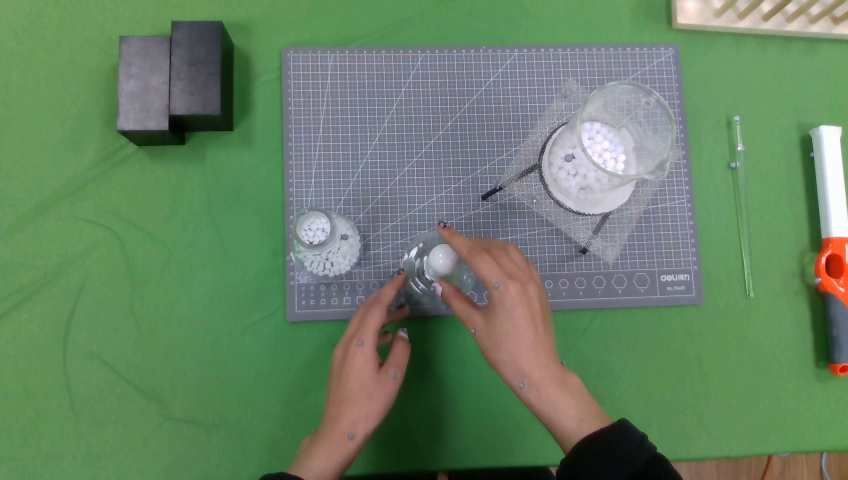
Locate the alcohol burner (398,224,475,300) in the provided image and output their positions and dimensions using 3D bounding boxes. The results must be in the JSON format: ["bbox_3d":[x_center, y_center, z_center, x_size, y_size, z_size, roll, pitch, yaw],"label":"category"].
[{"bbox_3d":[0.013,0.020,0.593,0.078,0.119,0.077,0,83,-2],"label":"alcohol burner"}]

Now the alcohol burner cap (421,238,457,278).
[{"bbox_3d":[0.015,0.014,0.557,0.034,0.048,0.033,1,74,-5],"label":"alcohol burner cap"}]

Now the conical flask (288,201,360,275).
[{"bbox_3d":[-0.101,-0.007,0.583,0.075,0.122,0.075,1,83,-4],"label":"conical flask"}]

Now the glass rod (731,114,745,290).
[{"bbox_3d":[0.353,-0.043,0.681,0.008,0.008,0.199,0,86,-4],"label":"glass rod"}]

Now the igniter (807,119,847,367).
[{"bbox_3d":[0.455,0.001,0.674,0.057,0.025,0.275,2,83,-15],"label":"igniter"}]

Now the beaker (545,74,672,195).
[{"bbox_3d":[0.144,-0.077,0.490,0.074,0.100,0.084,-41,87,-7],"label":"beaker"}]

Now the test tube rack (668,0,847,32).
[{"bbox_3d":[0.409,-0.288,0.676,0.242,0.085,0.066,2,82,-4],"label":"test tube rack"}]

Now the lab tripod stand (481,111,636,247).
[{"bbox_3d":[0.138,-0.062,0.602,0.148,0.131,0.148,0,84,-3],"label":"lab tripod stand"}]

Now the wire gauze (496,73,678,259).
[{"bbox_3d":[0.144,-0.068,0.537,0.125,0.011,0.121,35,85,-1],"label":"wire gauze"}]
